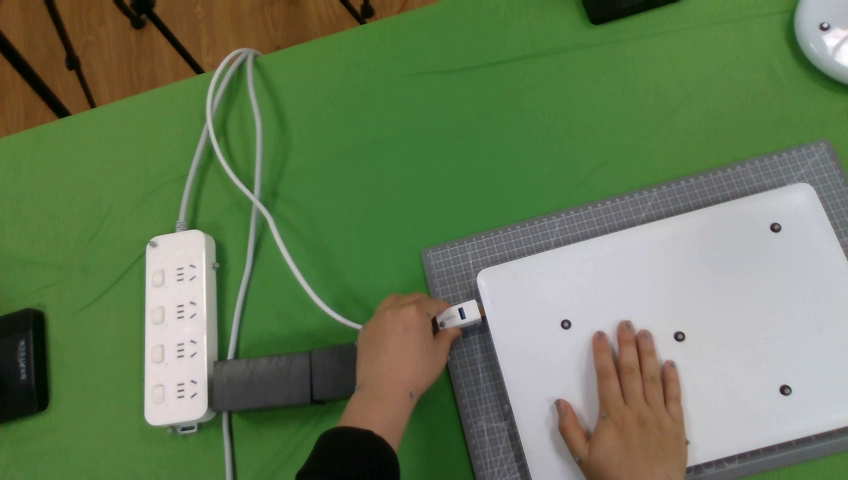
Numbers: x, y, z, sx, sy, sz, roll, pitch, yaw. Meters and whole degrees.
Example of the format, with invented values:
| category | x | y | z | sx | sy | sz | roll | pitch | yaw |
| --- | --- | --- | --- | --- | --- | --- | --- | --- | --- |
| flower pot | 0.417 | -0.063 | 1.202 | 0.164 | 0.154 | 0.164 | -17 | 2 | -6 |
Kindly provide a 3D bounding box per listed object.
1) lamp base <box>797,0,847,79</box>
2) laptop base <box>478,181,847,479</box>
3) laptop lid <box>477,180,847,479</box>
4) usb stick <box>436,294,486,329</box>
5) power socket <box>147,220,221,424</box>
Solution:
| category | x | y | z | sx | sy | sz | roll | pitch | yaw |
| --- | --- | --- | --- | --- | --- | --- | --- | --- | --- |
| lamp base | 0.485 | -0.274 | 0.589 | 0.160 | 0.181 | 0.178 | 18 | 74 | 13 |
| laptop base | 0.250 | 0.091 | 0.601 | 0.354 | 0.023 | 0.234 | -15 | 76 | 3 |
| laptop lid | 0.249 | 0.091 | 0.590 | 0.356 | 0.013 | 0.240 | -14 | 76 | 4 |
| usb stick | 0.044 | 0.071 | 0.621 | 0.059 | 0.027 | 0.021 | -17 | 70 | -2 |
| power socket | -0.263 | 0.085 | 0.666 | 0.072 | 0.033 | 0.225 | -8 | 73 | 5 |
